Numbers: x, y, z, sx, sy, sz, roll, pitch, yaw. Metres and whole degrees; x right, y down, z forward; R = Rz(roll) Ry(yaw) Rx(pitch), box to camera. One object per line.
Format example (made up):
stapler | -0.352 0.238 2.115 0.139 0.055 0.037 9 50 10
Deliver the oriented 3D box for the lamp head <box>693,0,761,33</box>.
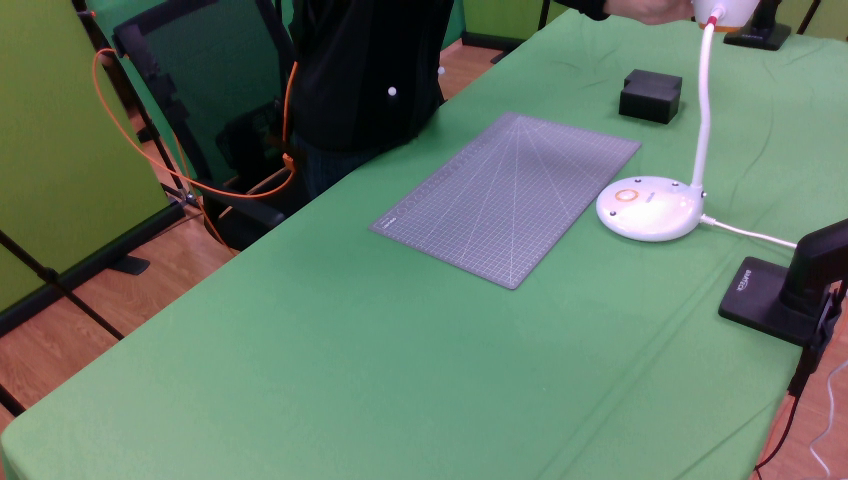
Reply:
lamp head | 0.438 -0.362 0.871 0.112 0.123 0.112 2 28 0

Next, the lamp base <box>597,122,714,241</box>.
lamp base | 0.364 -0.109 0.921 0.178 0.181 0.160 13 45 21

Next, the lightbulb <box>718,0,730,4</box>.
lightbulb | 0.435 -0.394 0.862 0.059 0.108 0.059 -3 25 2
